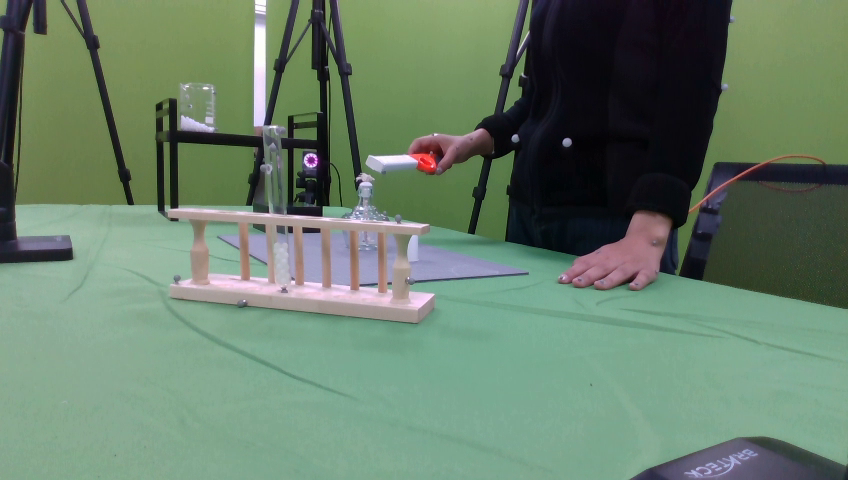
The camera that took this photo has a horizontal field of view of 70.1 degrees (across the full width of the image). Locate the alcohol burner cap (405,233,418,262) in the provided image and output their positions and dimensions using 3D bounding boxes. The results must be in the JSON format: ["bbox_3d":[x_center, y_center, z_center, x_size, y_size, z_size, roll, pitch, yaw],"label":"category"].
[{"bbox_3d":[-0.024,0.005,0.847,0.034,0.048,0.034,2,9,0],"label":"alcohol burner cap"}]

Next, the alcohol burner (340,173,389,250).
[{"bbox_3d":[-0.093,-0.045,0.939,0.078,0.119,0.078,0,7,0],"label":"alcohol burner"}]

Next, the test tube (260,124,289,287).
[{"bbox_3d":[-0.136,-0.030,0.554,0.017,0.150,0.017,-2,10,1],"label":"test tube"}]

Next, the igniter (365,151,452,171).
[{"bbox_3d":[-0.019,-0.141,1.074,0.057,0.025,0.277,33,21,19],"label":"igniter"}]

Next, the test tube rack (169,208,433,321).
[{"bbox_3d":[-0.115,0.018,0.574,0.242,0.085,0.067,4,8,14],"label":"test tube rack"}]

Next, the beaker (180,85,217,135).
[{"bbox_3d":[-0.478,-0.275,1.279,0.074,0.100,0.084,4,8,15],"label":"beaker"}]
